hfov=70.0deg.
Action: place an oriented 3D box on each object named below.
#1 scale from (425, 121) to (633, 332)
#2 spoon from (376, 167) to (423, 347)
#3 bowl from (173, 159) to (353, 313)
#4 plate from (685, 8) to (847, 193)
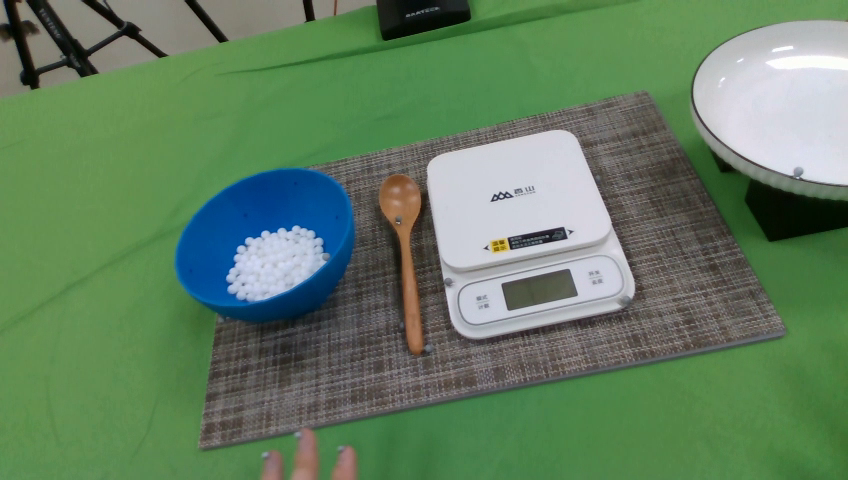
[{"bbox_3d":[0.082,-0.020,0.530,0.148,0.032,0.198,-13,50,4],"label":"scale"},{"bbox_3d":[-0.018,0.008,0.538,0.042,0.022,0.191,-2,50,-7],"label":"spoon"},{"bbox_3d":[-0.127,0.010,0.525,0.151,0.077,0.150,-6,50,8],"label":"bowl"},{"bbox_3d":[0.317,-0.111,0.482,0.209,0.038,0.207,-6,51,8],"label":"plate"}]
